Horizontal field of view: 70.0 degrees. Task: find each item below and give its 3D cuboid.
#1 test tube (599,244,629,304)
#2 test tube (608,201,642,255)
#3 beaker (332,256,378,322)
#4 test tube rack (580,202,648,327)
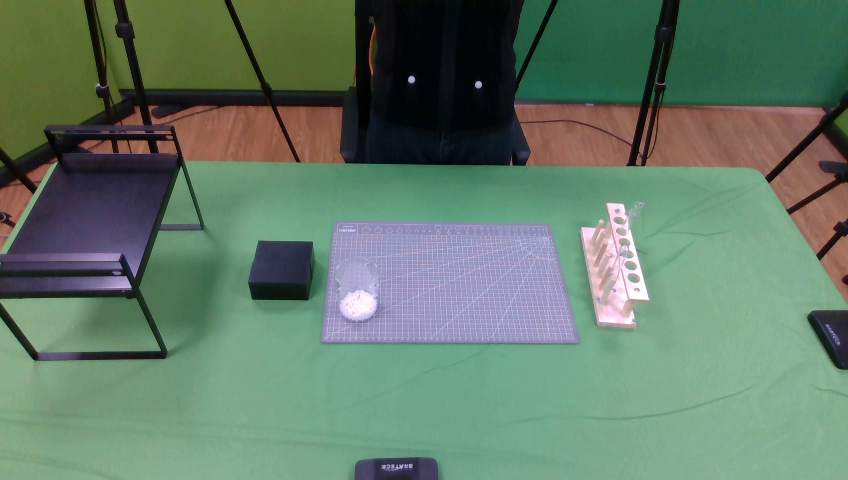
[{"bbox_3d":[0.331,0.061,1.059,0.017,0.151,0.017,2,46,-1],"label":"test tube"},{"bbox_3d":[0.373,-0.019,1.134,0.017,0.151,0.017,3,52,-4],"label":"test tube"},{"bbox_3d":[-0.114,0.089,1.047,0.083,0.101,0.074,30,51,21],"label":"beaker"},{"bbox_3d":[0.352,0.040,1.143,0.067,0.085,0.241,4,46,0],"label":"test tube rack"}]
